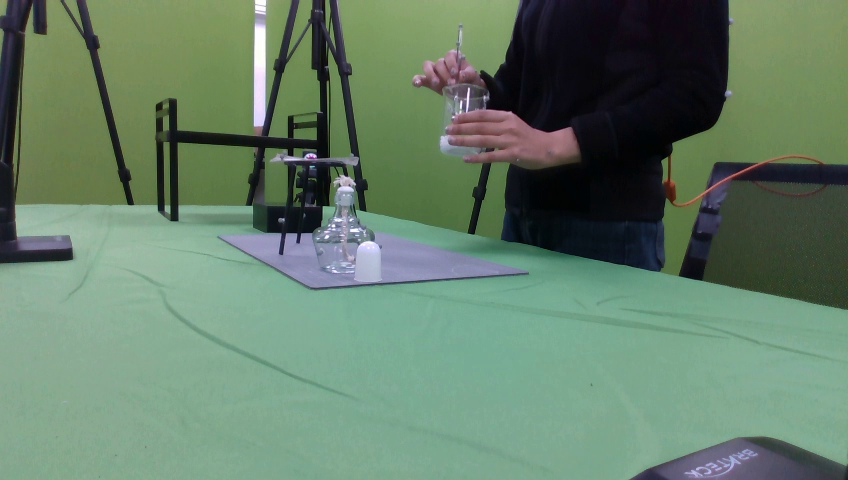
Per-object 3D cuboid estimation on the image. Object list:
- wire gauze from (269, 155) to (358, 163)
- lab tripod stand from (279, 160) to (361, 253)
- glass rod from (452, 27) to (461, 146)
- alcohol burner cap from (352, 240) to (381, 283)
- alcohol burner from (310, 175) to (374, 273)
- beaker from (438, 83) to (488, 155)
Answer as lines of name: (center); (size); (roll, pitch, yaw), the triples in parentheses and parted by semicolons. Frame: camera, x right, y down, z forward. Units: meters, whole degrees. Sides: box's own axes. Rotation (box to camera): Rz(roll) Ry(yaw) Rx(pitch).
wire gauze: (-0.159, -0.118, 0.886); (0.122, 0.011, 0.125); (1, 7, -9)
lab tripod stand: (-0.166, -0.052, 0.897); (0.148, 0.131, 0.148); (0, 7, 0)
glass rod: (0.051, -0.246, 0.962); (0.008, 0.199, 0.008); (3, -8, 1)
alcohol burner cap: (-0.065, 0.023, 0.690); (0.034, 0.048, 0.034); (2, 8, 0)
alcohol burner: (-0.100, -0.020, 0.741); (0.078, 0.119, 0.078); (1, 6, 0)
beaker: (0.058, -0.188, 0.948); (0.073, 0.100, 0.084); (2, -3, 36)
